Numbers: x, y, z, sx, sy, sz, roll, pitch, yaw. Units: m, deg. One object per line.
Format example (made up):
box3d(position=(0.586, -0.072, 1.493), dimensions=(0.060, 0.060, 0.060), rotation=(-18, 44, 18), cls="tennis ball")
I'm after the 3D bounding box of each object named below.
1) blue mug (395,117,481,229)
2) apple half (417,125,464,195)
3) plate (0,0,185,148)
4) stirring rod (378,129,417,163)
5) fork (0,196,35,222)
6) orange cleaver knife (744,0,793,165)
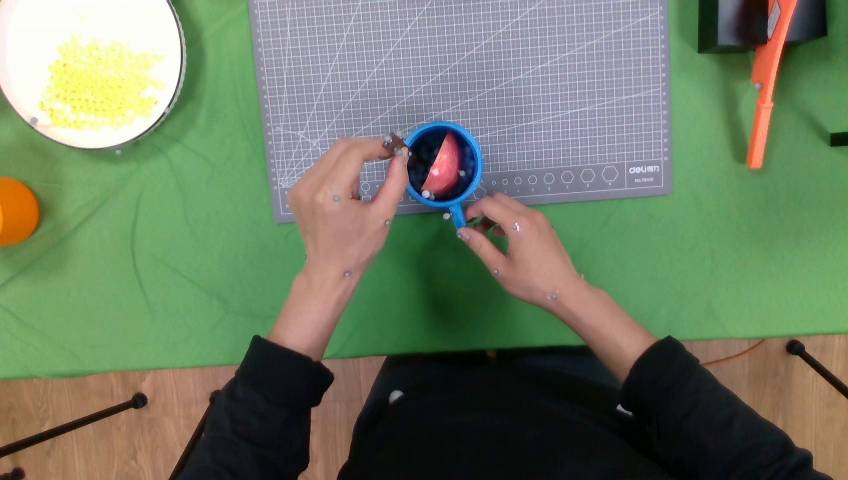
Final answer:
box3d(position=(0.020, -0.066, 0.631), dimensions=(0.082, 0.105, 0.117), rotation=(-19, 97, 4), cls="blue mug")
box3d(position=(0.024, -0.078, 0.620), dimensions=(0.032, 0.081, 0.081), rotation=(25, 97, 8), cls="apple half")
box3d(position=(-0.358, -0.204, 0.653), dimensions=(0.209, 0.038, 0.209), rotation=(0, 98, 1), cls="plate")
box3d(position=(-0.021, -0.082, 0.539), dimensions=(0.006, 0.176, 0.014), rotation=(35, 96, 3), cls="stirring rod")
box3d(position=(-0.522, -0.041, 0.623), dimensions=(0.209, 0.018, 0.028), rotation=(7, 98, -44), cls="fork")
box3d(position=(0.350, -0.182, 0.624), dimensions=(0.012, 0.076, 0.213), rotation=(-1, 124, 10), cls="orange cleaver knife")
